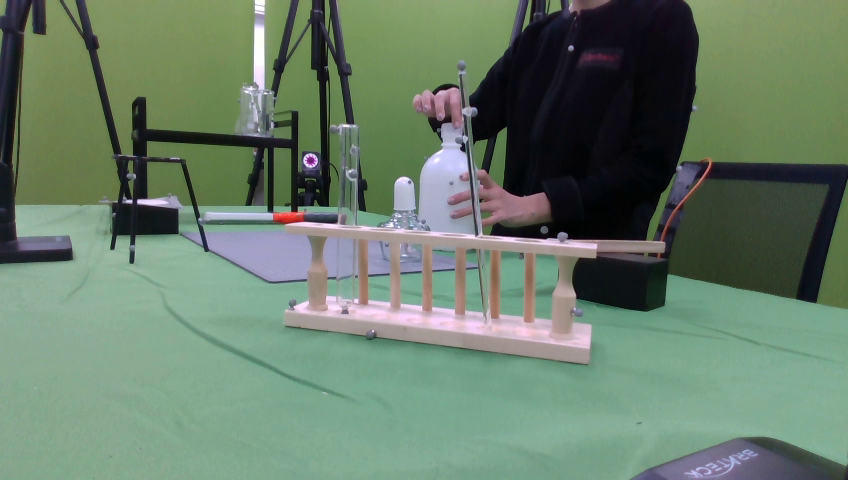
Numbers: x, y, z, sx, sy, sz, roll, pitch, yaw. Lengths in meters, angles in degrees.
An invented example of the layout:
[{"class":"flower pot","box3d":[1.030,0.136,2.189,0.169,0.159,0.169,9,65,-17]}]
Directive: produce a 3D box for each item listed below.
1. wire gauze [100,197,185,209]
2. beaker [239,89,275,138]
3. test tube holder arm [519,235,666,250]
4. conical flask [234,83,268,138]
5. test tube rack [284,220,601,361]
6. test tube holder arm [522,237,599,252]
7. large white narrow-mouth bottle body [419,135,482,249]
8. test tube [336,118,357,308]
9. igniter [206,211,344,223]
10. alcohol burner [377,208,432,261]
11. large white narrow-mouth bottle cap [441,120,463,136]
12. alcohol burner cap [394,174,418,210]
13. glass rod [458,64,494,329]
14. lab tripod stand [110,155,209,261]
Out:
[{"class":"wire gauze","box3d":[-0.469,-0.062,1.008,0.126,0.011,0.121,-2,8,-25]},{"class":"beaker","box3d":[-0.360,-0.273,1.308,0.074,0.100,0.084,0,8,-11]},{"class":"test tube holder arm","box3d":[0.186,0.003,0.655,0.179,0.015,0.013,0,14,-19]},{"class":"conical flask","box3d":[-0.399,-0.298,1.395,0.075,0.122,0.075,2,8,0]},{"class":"test tube rack","box3d":[0.013,0.032,0.482,0.242,0.085,0.067,4,7,16]},{"class":"test tube holder arm","box3d":[0.144,0.004,0.635,0.088,0.015,0.010,-1,14,-19]},{"class":"large white narrow-mouth bottle body","box3d":[0.044,-0.086,0.996,0.102,0.194,0.102,2,8,0]},{"class":"test tube","box3d":[-0.061,-0.019,0.476,0.017,0.150,0.017,2,10,0]},{"class":"igniter","box3d":[-0.302,-0.048,1.249,0.278,0.025,0.057,-2,-2,-27]},{"class":"alcohol burner","box3d":[-0.027,-0.031,0.838,0.078,0.119,0.078,0,6,0]},{"class":"large white narrow-mouth bottle cap","box3d":[0.046,-0.181,0.983,0.038,0.024,0.037,2,8,0]},{"class":"alcohol burner cap","box3d":[-0.026,-0.067,0.833,0.034,0.048,0.034,-1,12,1]},{"class":"glass rod","box3d":[0.039,-0.029,0.449,0.008,0.199,0.008,-7,9,1]},{"class":"lab tripod stand","box3d":[-0.361,-0.046,0.806,0.148,0.131,0.148,2,5,0]}]
